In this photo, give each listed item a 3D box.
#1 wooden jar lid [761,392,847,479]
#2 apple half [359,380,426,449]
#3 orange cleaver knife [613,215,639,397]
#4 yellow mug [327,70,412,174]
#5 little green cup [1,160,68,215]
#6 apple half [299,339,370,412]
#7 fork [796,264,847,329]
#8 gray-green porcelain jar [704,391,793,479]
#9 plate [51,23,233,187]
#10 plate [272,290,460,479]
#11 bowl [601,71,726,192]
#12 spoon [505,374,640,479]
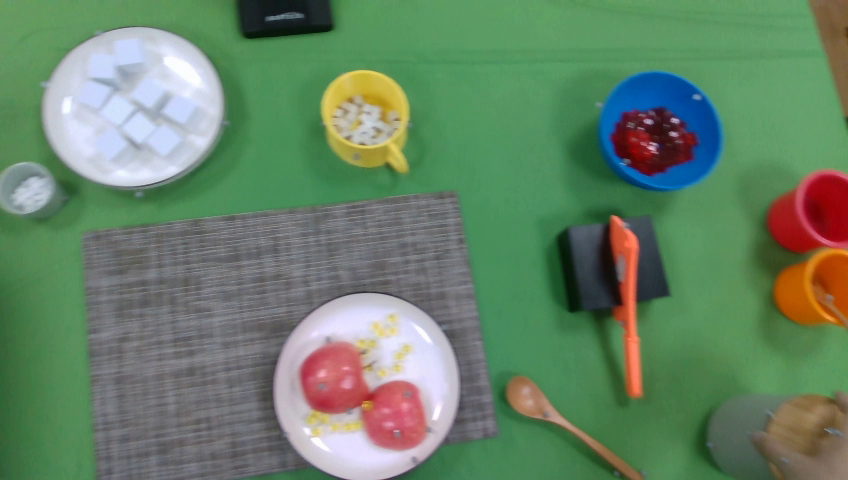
[{"bbox_3d":[0.391,0.209,0.612,0.108,0.021,0.108,1,77,-3],"label":"wooden jar lid"},{"bbox_3d":[-0.035,0.197,0.678,0.081,0.033,0.081,1,75,-4],"label":"apple half"},{"bbox_3d":[0.237,0.078,0.714,0.012,0.077,0.212,-6,102,-2],"label":"orange cleaver knife"},{"bbox_3d":[-0.057,-0.136,0.741,0.100,0.064,0.130,-36,84,-11],"label":"yellow mug"},{"bbox_3d":[-0.449,-0.058,0.703,0.061,0.039,0.061,1,79,-5],"label":"little green cup"},{"bbox_3d":[-0.101,0.152,0.673,0.075,0.053,0.080,-10,80,-4],"label":"apple half"},{"bbox_3d":[0.481,0.095,0.697,0.028,0.019,0.205,9,34,-3],"label":"fork"},{"bbox_3d":[0.386,0.222,0.675,0.106,0.127,0.105,1,78,-5],"label":"gray-green porcelain jar"},{"bbox_3d":[-0.335,-0.161,0.736,0.208,0.039,0.206,1,78,-5],"label":"plate"},{"bbox_3d":[-0.065,0.162,0.689,0.209,0.038,0.208,1,79,-5],"label":"plate"},{"bbox_3d":[0.287,-0.125,0.761,0.151,0.077,0.150,1,79,-4],"label":"bowl"},{"bbox_3d":[0.174,0.223,0.709,0.193,0.022,0.041,35,61,3],"label":"spoon"}]
